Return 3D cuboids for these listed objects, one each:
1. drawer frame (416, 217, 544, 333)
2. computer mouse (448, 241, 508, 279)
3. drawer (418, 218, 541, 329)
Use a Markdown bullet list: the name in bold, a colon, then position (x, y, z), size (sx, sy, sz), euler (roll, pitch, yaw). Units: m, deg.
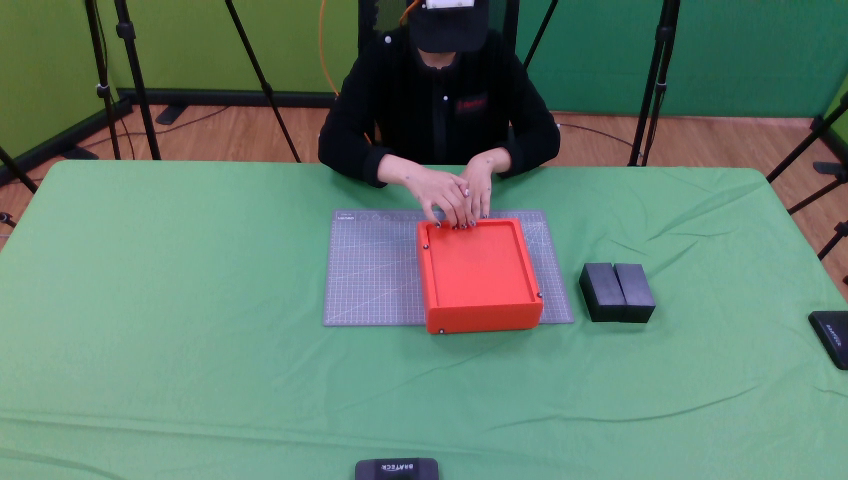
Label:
- **drawer frame**: position (0.094, 0.058, 1.104), size (0.202, 0.083, 0.212), euler (-2, 47, -7)
- **computer mouse**: position (0.102, 0.036, 1.130), size (0.117, 0.041, 0.062), euler (11, 43, -13)
- **drawer**: position (0.094, 0.057, 1.107), size (0.195, 0.073, 0.210), euler (-1, 47, -6)
